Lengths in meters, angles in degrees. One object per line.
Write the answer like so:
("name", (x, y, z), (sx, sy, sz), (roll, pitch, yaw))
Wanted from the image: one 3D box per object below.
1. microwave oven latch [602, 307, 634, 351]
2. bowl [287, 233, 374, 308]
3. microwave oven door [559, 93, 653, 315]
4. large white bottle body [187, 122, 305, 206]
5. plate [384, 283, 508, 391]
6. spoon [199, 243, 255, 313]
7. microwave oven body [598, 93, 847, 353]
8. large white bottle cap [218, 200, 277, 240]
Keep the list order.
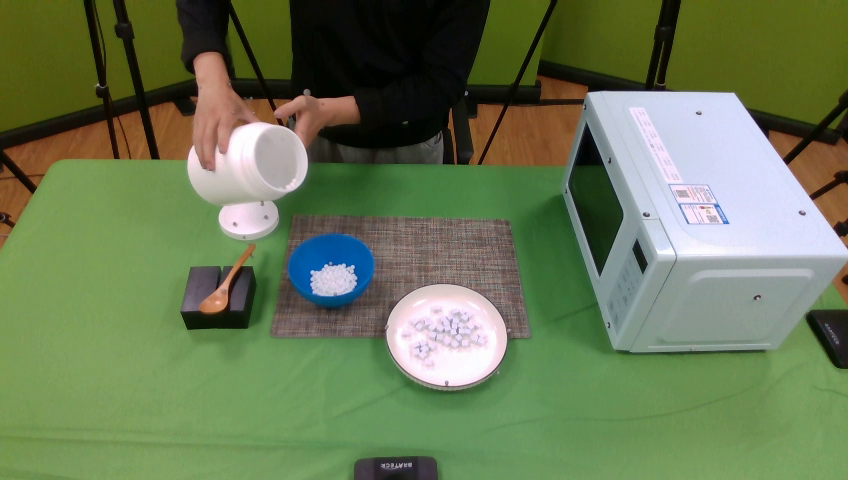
("microwave oven latch", (0.332, 0.153, 1.044), (0.030, 0.029, 0.078), (-1, 45, -4))
("bowl", (-0.164, 0.068, 1.078), (0.151, 0.077, 0.150), (3, 45, -2))
("microwave oven door", (0.327, -0.074, 1.123), (0.039, 0.245, 0.353), (-1, 46, -5))
("large white bottle body", (-0.302, -0.129, 1.037), (0.184, 0.131, 0.130), (-3, 35, 40))
("plate", (0.036, 0.166, 1.029), (0.209, 0.038, 0.208), (2, 49, -2))
("spoon", (-0.333, 0.062, 1.051), (0.041, 0.022, 0.193), (8, 40, 8))
("microwave oven body", (0.475, -0.041, 1.109), (0.326, 0.261, 0.438), (-1, 45, -4))
("large white bottle cap", (-0.354, -0.045, 1.220), (0.115, 0.018, 0.114), (2, 45, -2))
